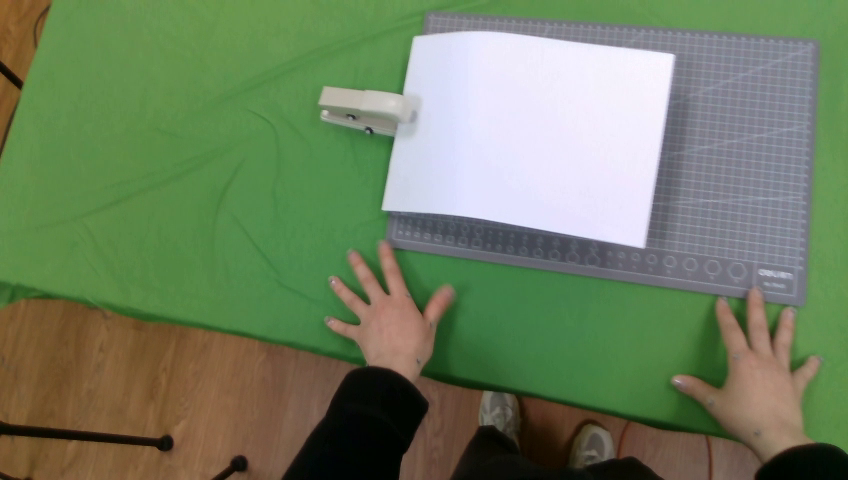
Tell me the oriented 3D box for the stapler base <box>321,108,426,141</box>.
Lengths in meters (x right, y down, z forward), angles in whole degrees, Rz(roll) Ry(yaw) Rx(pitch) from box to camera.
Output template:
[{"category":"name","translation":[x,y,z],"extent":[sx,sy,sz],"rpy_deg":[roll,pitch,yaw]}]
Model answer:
[{"category":"stapler base","translation":[-0.064,-0.152,0.726],"extent":[0.130,0.024,0.041],"rpy_deg":[14,81,14]}]

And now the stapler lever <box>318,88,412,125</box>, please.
[{"category":"stapler lever","translation":[-0.071,-0.157,0.702],"extent":[0.117,0.040,0.027],"rpy_deg":[14,80,13]}]
